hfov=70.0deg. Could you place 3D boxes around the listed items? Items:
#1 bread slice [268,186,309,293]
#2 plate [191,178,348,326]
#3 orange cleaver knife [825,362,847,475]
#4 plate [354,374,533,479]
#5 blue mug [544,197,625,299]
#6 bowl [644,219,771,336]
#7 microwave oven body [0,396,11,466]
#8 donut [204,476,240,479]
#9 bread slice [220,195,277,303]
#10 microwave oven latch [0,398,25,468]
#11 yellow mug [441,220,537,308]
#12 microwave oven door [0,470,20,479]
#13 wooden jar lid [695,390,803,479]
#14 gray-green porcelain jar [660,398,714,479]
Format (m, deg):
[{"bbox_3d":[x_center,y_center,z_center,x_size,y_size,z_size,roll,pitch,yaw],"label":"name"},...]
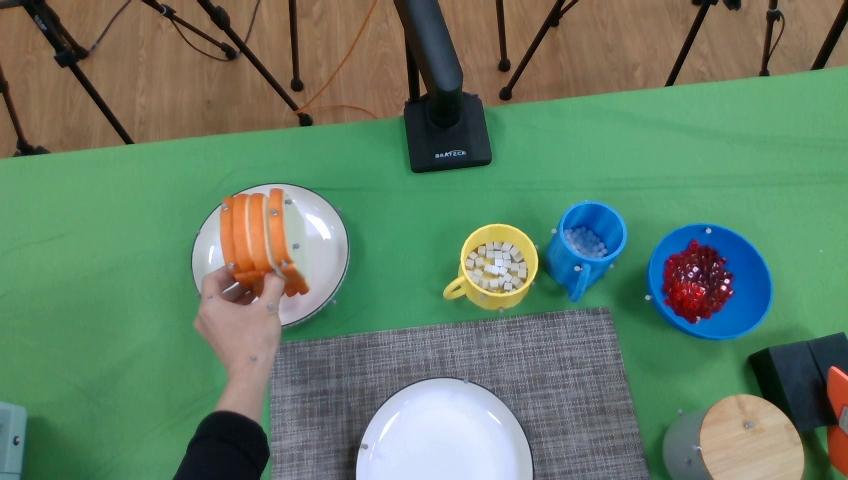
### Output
[{"bbox_3d":[-0.163,-0.003,0.733,0.019,0.132,0.104,-9,70,-1],"label":"bread slice"},{"bbox_3d":[-0.205,0.017,0.817,0.208,0.039,0.206,0,69,0],"label":"plate"},{"bbox_3d":[0.492,0.247,0.700,0.012,0.077,0.212,-10,99,-2],"label":"orange cleaver knife"},{"bbox_3d":[0.023,0.265,0.715,0.209,0.038,0.207,0,69,0],"label":"plate"},{"bbox_3d":[0.201,0.019,0.779,0.082,0.106,0.116,12,69,5],"label":"blue mug"},{"bbox_3d":[0.349,0.057,0.777,0.151,0.077,0.150,0,69,1],"label":"bowl"},{"bbox_3d":[-0.623,0.371,0.555,0.326,0.262,0.438,-6,69,-2],"label":"microwave oven body"},{"bbox_3d":[-0.237,0.322,0.695,0.099,0.048,0.098,1,68,-2],"label":"donut"},{"bbox_3d":[-0.211,0.005,0.737,0.018,0.135,0.106,-11,64,5],"label":"bread slice"},{"bbox_3d":[-0.495,0.228,0.714,0.030,0.030,0.078,-3,69,-1],"label":"microwave oven latch"},{"bbox_3d":[0.080,0.040,0.792,0.131,0.064,0.099,-28,70,-9],"label":"yellow mug"},{"bbox_3d":[-0.473,0.392,0.541,0.039,0.245,0.353,-7,68,-2],"label":"microwave oven door"},{"bbox_3d":[0.332,0.210,0.624,0.108,0.021,0.107,1,70,-2],"label":"wooden jar lid"},{"bbox_3d":[0.333,0.234,0.682,0.106,0.127,0.105,0,68,0],"label":"gray-green porcelain jar"}]
